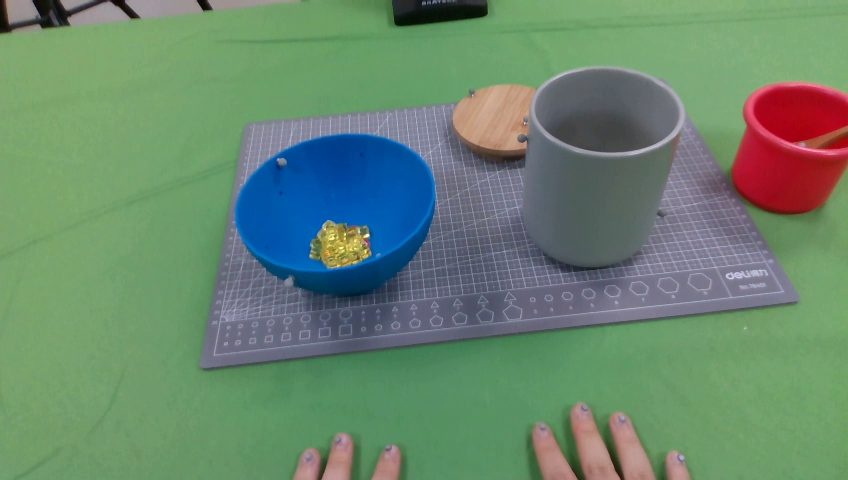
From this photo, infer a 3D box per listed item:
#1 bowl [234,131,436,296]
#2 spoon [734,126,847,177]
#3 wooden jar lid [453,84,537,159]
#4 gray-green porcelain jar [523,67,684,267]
[{"bbox_3d":[-0.063,-0.009,0.478,0.151,0.077,0.150,-2,48,3],"label":"bowl"},{"bbox_3d":[0.341,-0.085,0.471,0.022,0.193,0.041,48,54,-15],"label":"spoon"},{"bbox_3d":[0.083,-0.117,0.602,0.108,0.021,0.107,-3,47,3],"label":"wooden jar lid"},{"bbox_3d":[0.130,-0.050,0.465,0.106,0.128,0.105,-3,48,3],"label":"gray-green porcelain jar"}]
